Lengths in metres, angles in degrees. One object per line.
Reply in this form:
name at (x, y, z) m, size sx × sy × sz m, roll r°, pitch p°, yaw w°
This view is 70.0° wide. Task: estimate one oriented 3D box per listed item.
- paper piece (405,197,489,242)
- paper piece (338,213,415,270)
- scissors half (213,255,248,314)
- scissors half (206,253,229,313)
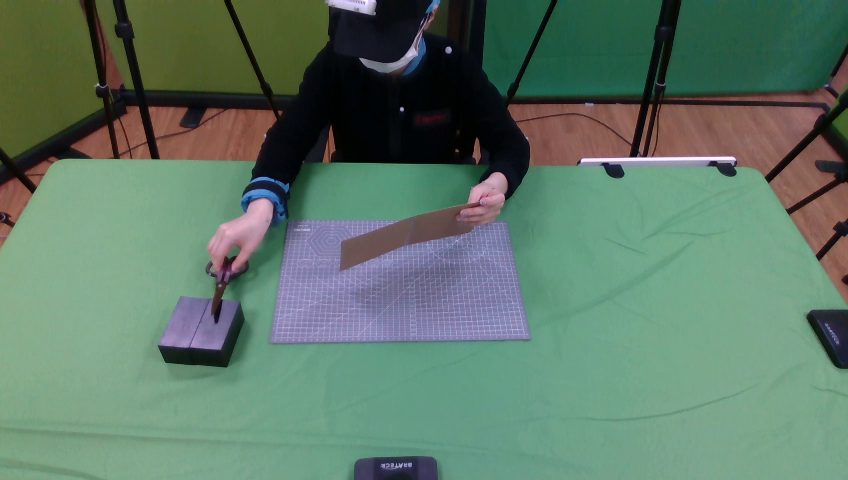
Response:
paper piece at (0.038, -0.033, 1.090) m, size 0.138 × 0.136 × 0.008 m, roll -12°, pitch 72°, yaw -14°
paper piece at (-0.085, 0.003, 1.052) m, size 0.136 × 0.136 × 0.004 m, roll -21°, pitch 71°, yaw -17°
scissors half at (-0.342, 0.075, 1.059) m, size 0.040 × 0.013 × 0.174 m, roll 7°, pitch 30°, yaw -3°
scissors half at (-0.361, 0.073, 1.054) m, size 0.040 × 0.013 × 0.174 m, roll 4°, pitch 30°, yaw -19°
